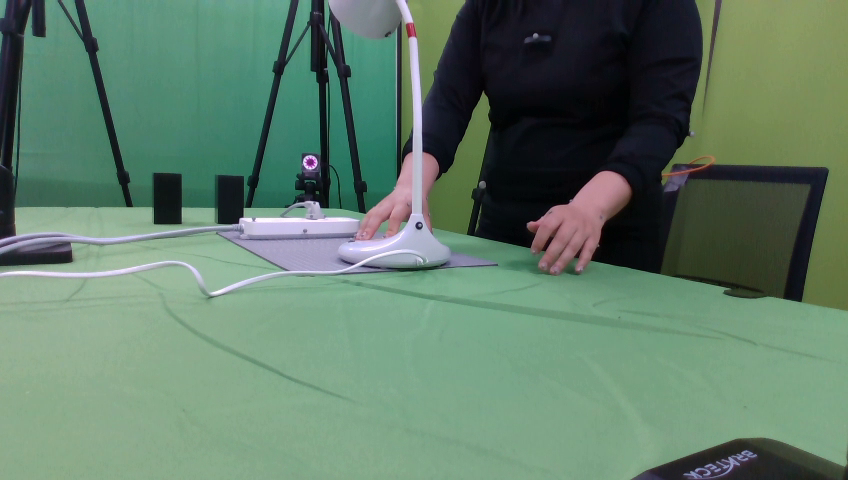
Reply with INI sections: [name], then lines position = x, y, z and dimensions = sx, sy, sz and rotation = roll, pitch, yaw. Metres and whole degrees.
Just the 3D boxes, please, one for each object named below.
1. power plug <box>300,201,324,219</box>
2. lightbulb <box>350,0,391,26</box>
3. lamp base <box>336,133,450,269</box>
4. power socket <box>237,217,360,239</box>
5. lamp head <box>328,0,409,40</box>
[power plug]
position = -0.207, -0.046, 1.120
dimensions = 0.035, 0.052, 0.072
rotation = 2, 4, -22
[lightbulb]
position = -0.070, -0.354, 0.868
dimensions = 0.060, 0.059, 0.107
rotation = 0, -20, -21
[lamp base]
position = -0.032, -0.057, 0.830
dimensions = 0.161, 0.180, 0.178
rotation = -2, 11, -34
[power socket]
position = -0.220, -0.023, 1.080
dimensions = 0.228, 0.032, 0.072
rotation = -2, 8, -33
[lamp head]
position = -0.063, -0.356, 0.843
dimensions = 0.113, 0.112, 0.122
rotation = -1, -14, -29
